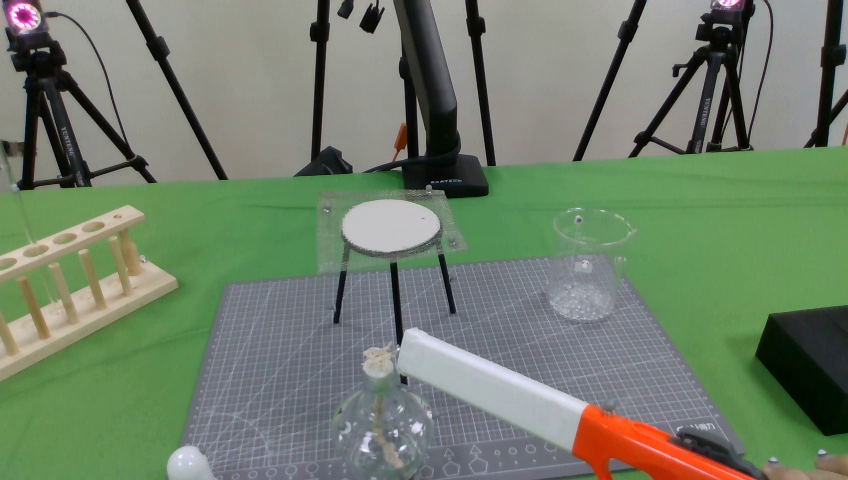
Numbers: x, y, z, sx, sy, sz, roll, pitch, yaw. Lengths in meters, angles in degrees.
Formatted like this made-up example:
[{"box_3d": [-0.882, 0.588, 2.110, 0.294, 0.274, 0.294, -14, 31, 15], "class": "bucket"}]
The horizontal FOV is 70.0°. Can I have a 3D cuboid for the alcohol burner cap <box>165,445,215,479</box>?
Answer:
[{"box_3d": [-0.173, 0.171, 0.445, 0.034, 0.048, 0.033, 1, 32, 0], "class": "alcohol burner cap"}]

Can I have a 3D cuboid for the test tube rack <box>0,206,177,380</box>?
[{"box_3d": [-0.378, 0.058, 0.595, 0.066, 0.086, 0.242, 23, 39, 32], "class": "test tube rack"}]

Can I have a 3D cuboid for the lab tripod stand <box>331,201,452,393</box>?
[{"box_3d": [-0.028, 0.044, 0.560, 0.148, 0.132, 0.147, 1, 33, 0], "class": "lab tripod stand"}]

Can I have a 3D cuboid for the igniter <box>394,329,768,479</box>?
[{"box_3d": [0.096, 0.112, 0.339, 0.274, 0.057, 0.025, 19, 12, 31], "class": "igniter"}]

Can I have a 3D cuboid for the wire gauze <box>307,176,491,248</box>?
[{"box_3d": [-0.024, -0.025, 0.513, 0.125, 0.011, 0.120, -9, 29, -27], "class": "wire gauze"}]

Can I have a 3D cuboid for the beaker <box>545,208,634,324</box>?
[{"box_3d": [0.164, 0.028, 0.615, 0.084, 0.101, 0.073, 0, 32, 1], "class": "beaker"}]

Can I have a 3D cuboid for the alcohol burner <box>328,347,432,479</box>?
[{"box_3d": [-0.033, 0.125, 0.448, 0.078, 0.120, 0.077, 1, 31, 0], "class": "alcohol burner"}]

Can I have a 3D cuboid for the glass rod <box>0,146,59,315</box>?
[{"box_3d": [-0.375, -0.005, 0.571, 0.008, 0.201, 0.008, 3, 34, -2], "class": "glass rod"}]
